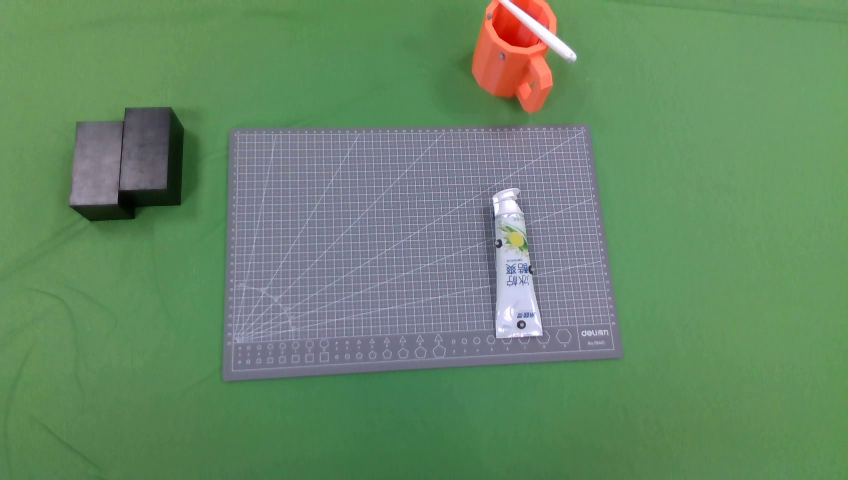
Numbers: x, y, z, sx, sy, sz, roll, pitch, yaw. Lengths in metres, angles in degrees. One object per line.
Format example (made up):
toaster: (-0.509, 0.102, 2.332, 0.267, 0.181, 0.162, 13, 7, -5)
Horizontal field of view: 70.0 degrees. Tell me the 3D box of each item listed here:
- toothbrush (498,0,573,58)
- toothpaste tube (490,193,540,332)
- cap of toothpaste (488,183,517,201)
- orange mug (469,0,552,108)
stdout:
toothbrush: (0.103, -0.273, 0.704, 0.181, 0.017, 0.014, 42, 72, 6)
toothpaste tube: (0.100, 0.024, 0.709, 0.055, 0.034, 0.164, -5, 79, 0)
cap of toothpaste: (0.094, -0.056, 0.725, 0.037, 0.037, 0.011, -14, 73, -10)
orange mug: (0.113, -0.231, 0.748, 0.083, 0.101, 0.125, -23, 73, -11)
